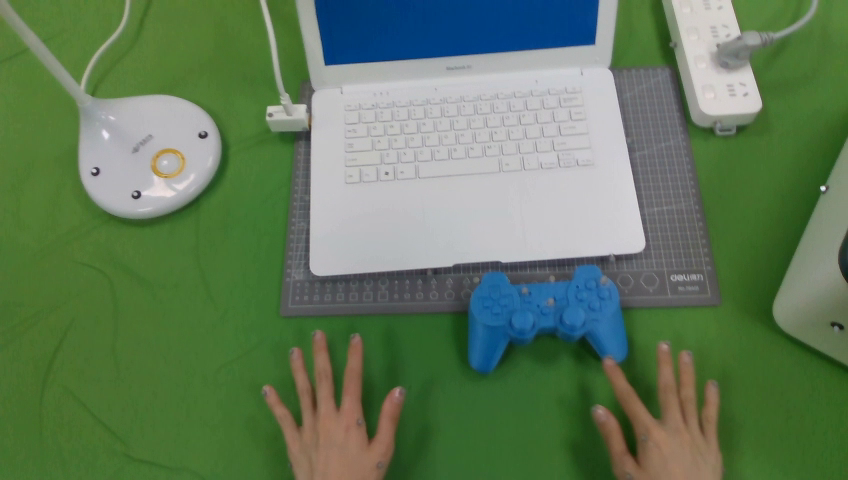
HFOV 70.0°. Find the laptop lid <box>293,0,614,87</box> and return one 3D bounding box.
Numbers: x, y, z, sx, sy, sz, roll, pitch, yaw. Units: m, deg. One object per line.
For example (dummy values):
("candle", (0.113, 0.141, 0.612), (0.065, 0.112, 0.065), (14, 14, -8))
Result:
("laptop lid", (0.032, -0.286, 0.649), (0.357, 0.244, 0.013), (-6, 37, 2))

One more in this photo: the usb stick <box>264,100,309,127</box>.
("usb stick", (-0.151, -0.145, 0.696), (0.059, 0.027, 0.021), (0, 62, -1))

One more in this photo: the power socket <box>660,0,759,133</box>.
("power socket", (0.332, -0.231, 0.715), (0.072, 0.033, 0.225), (-3, 68, 0))

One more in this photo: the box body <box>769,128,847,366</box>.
("box body", (0.519, -0.026, 0.554), (0.253, 0.161, 0.363), (30, 72, 14))

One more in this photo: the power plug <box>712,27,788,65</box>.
("power plug", (0.362, -0.211, 0.681), (0.072, 0.053, 0.035), (8, 68, 4))

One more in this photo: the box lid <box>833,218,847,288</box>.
("box lid", (0.516, -0.056, 0.486), (0.262, 0.015, 0.370), (30, 73, 14))

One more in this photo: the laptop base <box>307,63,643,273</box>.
("laptop base", (0.047, -0.084, 0.676), (0.354, 0.023, 0.234), (-4, 71, 1))

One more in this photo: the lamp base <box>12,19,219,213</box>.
("lamp base", (-0.330, -0.138, 0.628), (0.178, 0.181, 0.160), (24, 70, 15))

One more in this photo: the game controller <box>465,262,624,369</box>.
("game controller", (0.116, 0.072, 0.594), (0.155, 0.052, 0.096), (-3, 65, 1))
